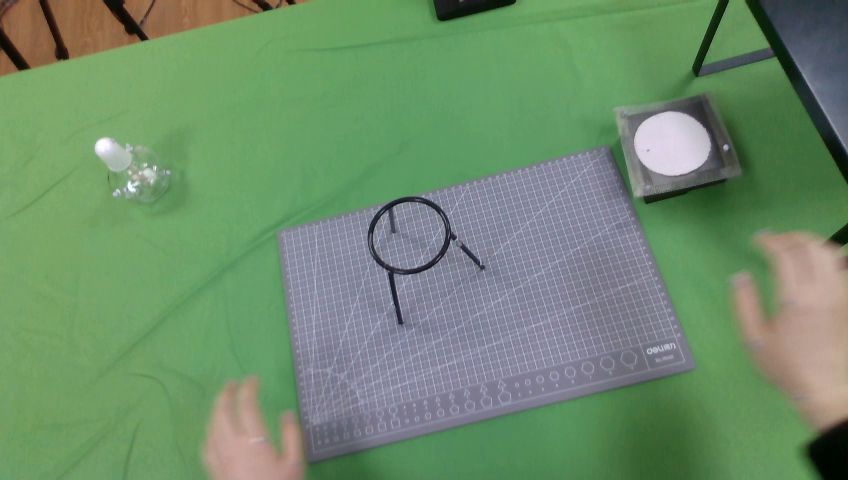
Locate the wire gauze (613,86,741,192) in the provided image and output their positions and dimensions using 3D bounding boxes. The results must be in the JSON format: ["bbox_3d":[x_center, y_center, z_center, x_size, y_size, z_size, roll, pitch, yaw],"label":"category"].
[{"bbox_3d":[0.297,-0.123,0.718,0.121,0.011,0.124,-9,68,6],"label":"wire gauze"}]

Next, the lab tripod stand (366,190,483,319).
[{"bbox_3d":[-0.011,0.009,0.693,0.148,0.132,0.147,-3,69,9],"label":"lab tripod stand"}]

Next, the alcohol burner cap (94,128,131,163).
[{"bbox_3d":[-0.398,-0.123,0.768,0.034,0.048,0.033,0,69,0],"label":"alcohol burner cap"}]

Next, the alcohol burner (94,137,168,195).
[{"bbox_3d":[-0.393,-0.108,0.801,0.078,0.120,0.077,-2,70,6],"label":"alcohol burner"}]
